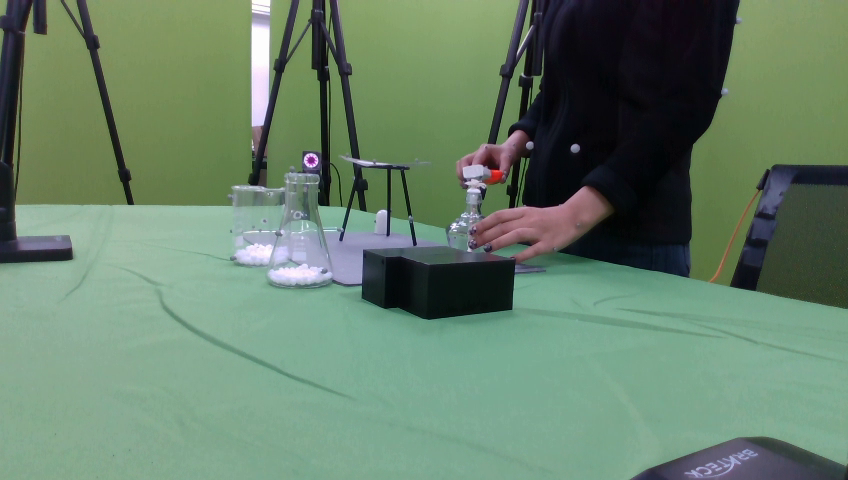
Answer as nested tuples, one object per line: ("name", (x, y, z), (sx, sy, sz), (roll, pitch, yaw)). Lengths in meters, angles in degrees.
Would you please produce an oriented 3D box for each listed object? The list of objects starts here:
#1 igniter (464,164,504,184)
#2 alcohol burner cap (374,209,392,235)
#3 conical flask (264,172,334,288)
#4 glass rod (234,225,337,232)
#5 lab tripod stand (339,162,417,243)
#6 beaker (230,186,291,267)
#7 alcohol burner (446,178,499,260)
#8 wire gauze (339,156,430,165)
("igniter", (0.107, -0.113, 1.047), (0.057, 0.025, 0.277), (-7, 2, 14))
("alcohol burner cap", (-0.078, -0.036, 1.148), (0.034, 0.048, 0.034), (2, 7, 0))
("conical flask", (-0.136, -0.013, 0.660), (0.075, 0.122, 0.075), (2, 7, 0))
("glass rod", (-0.256, -0.023, 1.136), (0.201, 0.008, 0.008), (-3, 9, -33))
("lab tripod stand", (-0.067, -0.065, 1.027), (0.148, 0.131, 0.148), (4, 7, 0))
("beaker", (-0.209, -0.019, 0.778), (0.074, 0.100, 0.084), (3, 6, 4))
("alcohol burner", (0.071, -0.030, 0.876), (0.078, 0.119, 0.078), (4, 6, 0))
("wire gauze", (-0.067, -0.132, 1.022), (0.122, 0.011, 0.124), (-1, 9, -31))
